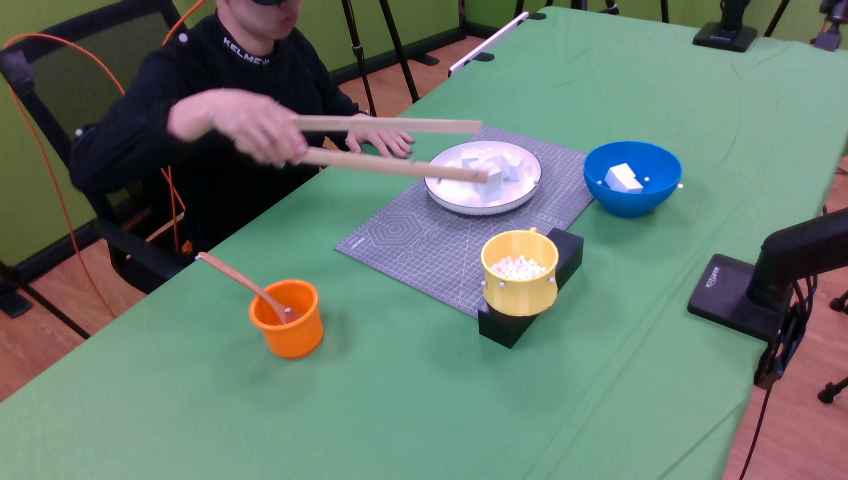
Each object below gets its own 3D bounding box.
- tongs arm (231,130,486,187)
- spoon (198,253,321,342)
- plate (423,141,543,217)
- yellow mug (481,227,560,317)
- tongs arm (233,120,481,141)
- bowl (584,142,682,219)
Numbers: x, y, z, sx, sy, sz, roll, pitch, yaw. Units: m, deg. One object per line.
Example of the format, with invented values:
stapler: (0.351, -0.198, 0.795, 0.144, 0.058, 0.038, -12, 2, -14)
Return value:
tongs arm: (-0.100, -0.122, 0.907, 0.385, 0.026, 0.050, 5, 47, -1)
spoon: (-0.220, 0.076, 0.815, 0.021, 0.194, 0.041, -36, 19, 39)
plate: (0.103, -0.103, 1.059, 0.207, 0.039, 0.206, -4, 40, 4)
yellow mug: (0.131, 0.032, 0.801, 0.099, 0.064, 0.131, 11, 43, 20)
tongs arm: (-0.100, -0.174, 0.957, 0.389, 0.028, 0.028, -2, 51, -9)
bowl: (0.333, -0.087, 0.980, 0.151, 0.077, 0.150, -4, 40, 4)
